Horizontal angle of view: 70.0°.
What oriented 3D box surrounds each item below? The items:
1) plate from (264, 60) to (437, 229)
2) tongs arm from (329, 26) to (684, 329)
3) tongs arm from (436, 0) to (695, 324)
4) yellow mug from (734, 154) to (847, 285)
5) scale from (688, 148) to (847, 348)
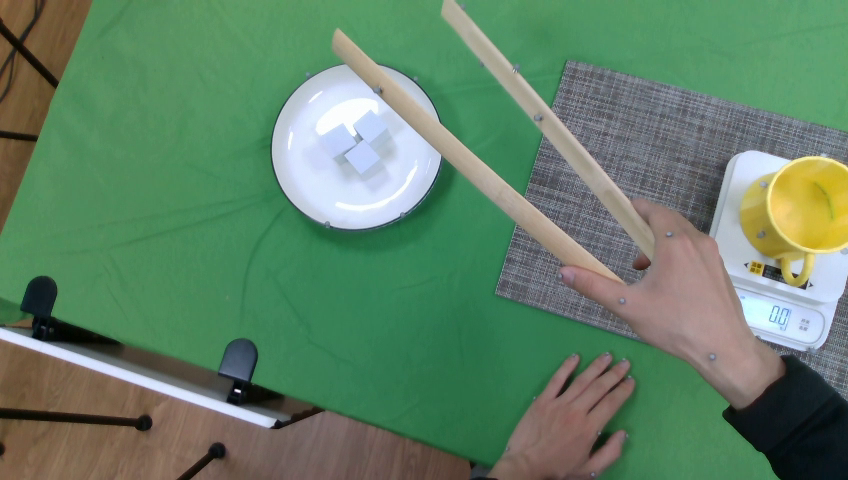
[{"bbox_3d":[-0.086,-0.112,0.731,0.207,0.039,0.207,-1,82,4],"label":"plate"},{"bbox_3d":[0.053,-0.060,0.512,0.385,0.028,0.028,43,51,13],"label":"tongs arm"},{"bbox_3d":[0.107,-0.090,0.549,0.051,0.026,0.382,-26,68,-31],"label":"tongs arm"},{"bbox_3d":[0.387,-0.018,0.631,0.100,0.064,0.130,7,84,5],"label":"yellow mug"},{"bbox_3d":[0.389,0.007,0.675,0.148,0.031,0.200,17,84,7],"label":"scale"}]
